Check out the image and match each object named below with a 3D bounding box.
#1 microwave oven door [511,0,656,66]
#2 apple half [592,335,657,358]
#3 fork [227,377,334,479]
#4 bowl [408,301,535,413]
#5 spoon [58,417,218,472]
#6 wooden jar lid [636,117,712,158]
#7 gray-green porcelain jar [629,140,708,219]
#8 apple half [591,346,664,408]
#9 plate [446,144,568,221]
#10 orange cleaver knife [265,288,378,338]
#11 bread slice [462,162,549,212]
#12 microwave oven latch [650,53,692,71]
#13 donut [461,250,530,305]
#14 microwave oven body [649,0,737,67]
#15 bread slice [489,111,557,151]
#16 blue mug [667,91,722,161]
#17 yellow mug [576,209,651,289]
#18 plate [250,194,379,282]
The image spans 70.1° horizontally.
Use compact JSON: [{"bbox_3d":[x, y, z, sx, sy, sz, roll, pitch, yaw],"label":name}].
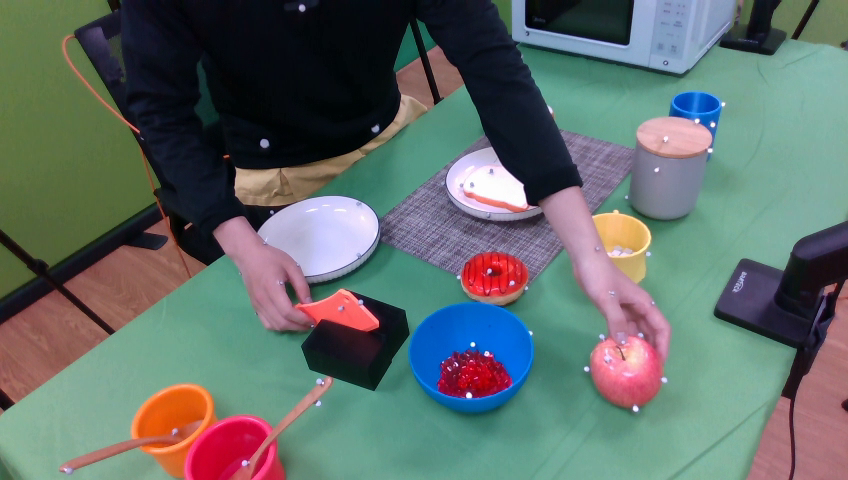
[{"bbox_3d":[0.350,-0.539,1.348,0.353,0.245,0.039,24,50,31],"label":"microwave oven door"},{"bbox_3d":[0.242,0.140,0.731,0.081,0.081,0.032,1,42,9],"label":"apple half"},{"bbox_3d":[-0.162,0.216,0.647,0.207,0.019,0.028,-49,41,16],"label":"fork"},{"bbox_3d":[0.060,0.155,0.738,0.151,0.077,0.150,-4,40,4],"label":"bowl"},{"bbox_3d":[-0.304,0.221,0.661,0.041,0.195,0.021,21,93,26],"label":"spoon"},{"bbox_3d":[0.377,-0.151,0.917,0.108,0.021,0.108,-2,41,3],"label":"wooden jar lid"},{"bbox_3d":[0.383,-0.104,0.958,0.106,0.127,0.105,-4,41,4],"label":"gray-green porcelain jar"},{"bbox_3d":[0.237,0.165,0.702,0.080,0.075,0.053,-4,43,14],"label":"apple half"},{"bbox_3d":[0.142,-0.096,1.045,0.207,0.039,0.206,-4,40,4],"label":"plate"},{"bbox_3d":[-0.143,0.104,0.823,0.210,0.077,0.012,-12,28,43],"label":"orange cleaver knife"},{"bbox_3d":[0.135,-0.093,1.045,0.133,0.018,0.107,16,45,23],"label":"bread slice"},{"bbox_3d":[0.531,-0.386,1.301,0.078,0.029,0.030,25,51,33],"label":"microwave oven latch"},{"bbox_3d":[0.103,0.053,0.871,0.099,0.048,0.098,-5,40,4],"label":"donut"},{"bbox_3d":[0.475,-0.602,1.411,0.438,0.261,0.327,23,50,32],"label":"microwave oven body"},{"bbox_3d":[0.193,-0.204,1.165,0.105,0.019,0.130,-13,40,-4],"label":"bread slice"},{"bbox_3d":[0.474,-0.207,1.079,0.082,0.106,0.116,4,42,13],"label":"blue mug"},{"bbox_3d":[0.278,0.004,0.893,0.099,0.064,0.130,6,41,14],"label":"yellow mug"},{"bbox_3d":[-0.174,-0.001,0.984,0.209,0.038,0.208,-3,40,3],"label":"plate"}]
